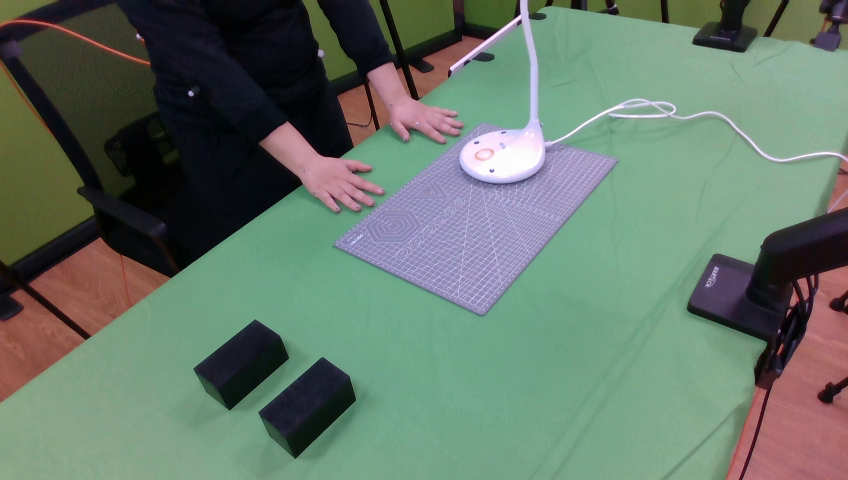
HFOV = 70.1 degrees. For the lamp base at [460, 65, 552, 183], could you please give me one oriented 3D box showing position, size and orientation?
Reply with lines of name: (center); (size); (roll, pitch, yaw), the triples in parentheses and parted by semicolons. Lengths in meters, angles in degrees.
lamp base: (0.149, -0.218, 1.078); (0.180, 0.181, 0.159); (-19, 41, -17)
